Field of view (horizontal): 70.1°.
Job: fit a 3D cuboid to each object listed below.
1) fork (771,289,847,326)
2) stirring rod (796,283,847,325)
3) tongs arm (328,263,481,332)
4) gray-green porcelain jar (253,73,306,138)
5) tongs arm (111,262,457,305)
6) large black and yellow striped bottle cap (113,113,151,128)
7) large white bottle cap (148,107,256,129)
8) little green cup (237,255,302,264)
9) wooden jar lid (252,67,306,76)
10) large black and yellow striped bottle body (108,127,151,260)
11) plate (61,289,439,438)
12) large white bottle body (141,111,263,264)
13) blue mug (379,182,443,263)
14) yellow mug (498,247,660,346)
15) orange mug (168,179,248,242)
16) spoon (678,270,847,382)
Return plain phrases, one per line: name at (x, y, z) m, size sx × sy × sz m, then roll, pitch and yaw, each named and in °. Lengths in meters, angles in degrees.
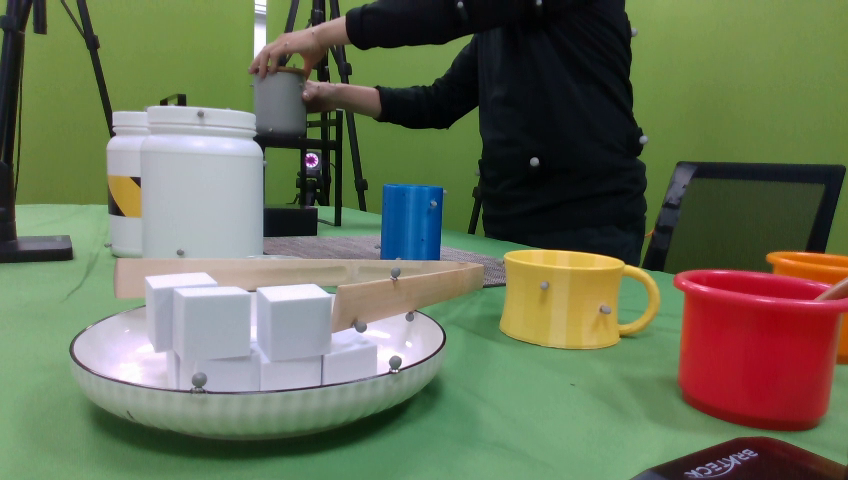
fork at (0.335, 0.018, 0.443) m, size 0.028 × 0.018 × 0.207 m, roll -2°, pitch -36°, yaw -20°
stirring rod at (0.346, 0.019, 0.460) m, size 0.014 × 0.176 × 0.006 m, roll -17°, pitch 59°, yaw -26°
tongs arm at (-0.003, 0.036, 0.492) m, size 0.050 × 0.026 × 0.386 m, roll 1°, pitch -1°, yaw 19°
gray-green porcelain jar at (-0.300, -0.277, 1.257) m, size 0.106 × 0.126 × 0.106 m, roll 1°, pitch 9°, yaw 0°
tongs arm at (-0.080, 0.033, 0.526) m, size 0.028 × 0.027 × 0.389 m, roll -4°, pitch -4°, yaw 33°
large black and yellow striped bottle cap at (-0.348, -0.154, 0.800) m, size 0.115 × 0.019 × 0.115 m, roll 2°, pitch 6°, yaw 0°
large white bottle cap at (-0.250, -0.137, 0.686) m, size 0.115 × 0.018 × 0.115 m, roll 3°, pitch 8°, yaw 0°
little green cup at (-0.150, 0.038, 0.590) m, size 0.061 × 0.038 × 0.061 m, roll 3°, pitch 7°, yaw 0°
wooden jar lid at (-0.299, -0.339, 1.248) m, size 0.108 × 0.020 × 0.108 m, roll 0°, pitch 7°, yaw 0°
large black and yellow striped bottle body at (-0.350, -0.071, 0.812) m, size 0.131 × 0.184 × 0.130 m, roll 2°, pitch 7°, yaw 0°
plate at (-0.095, 0.069, 0.362) m, size 0.208 × 0.039 × 0.207 m, roll 2°, pitch 7°, yaw 0°
large white bottle body at (-0.254, -0.054, 0.697) m, size 0.131 × 0.184 × 0.130 m, roll 2°, pitch 7°, yaw 0°
blue mug at (-0.019, -0.026, 0.833) m, size 0.082 × 0.106 × 0.116 m, roll 1°, pitch 7°, yaw -7°
yellow mug at (0.130, 0.045, 0.508) m, size 0.131 × 0.064 × 0.100 m, roll 4°, pitch 7°, yaw 6°
orange mug at (-0.351, -0.050, 0.986) m, size 0.126 × 0.101 × 0.083 m, roll -3°, pitch 8°, yaw -9°
spoon at (0.229, 0.031, 0.338) m, size 0.193 × 0.021 × 0.042 m, roll -44°, pitch -16°, yaw 27°
